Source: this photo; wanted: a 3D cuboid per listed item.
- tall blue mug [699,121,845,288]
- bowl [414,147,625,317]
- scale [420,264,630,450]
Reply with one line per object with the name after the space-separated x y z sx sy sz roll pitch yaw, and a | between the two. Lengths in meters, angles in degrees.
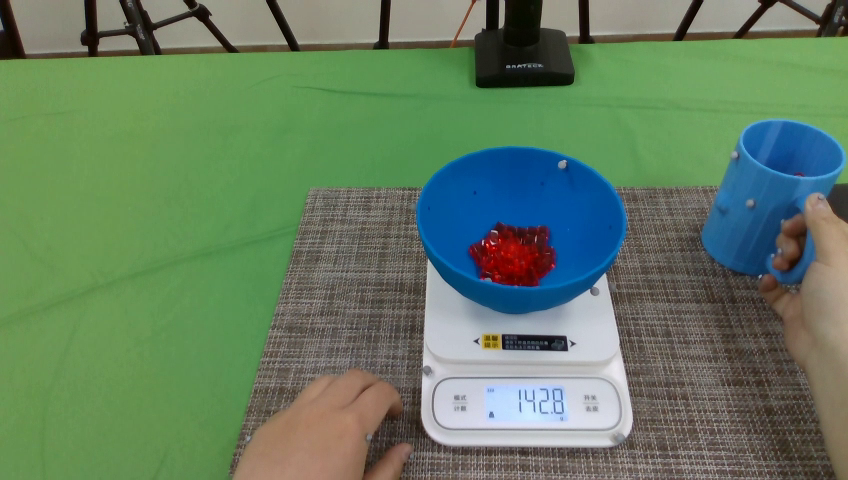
0.291 -0.022 0.494 0.078 0.109 0.106 -24 49 -19 | tall blue mug
0.069 0.006 0.461 0.151 0.077 0.150 -1 47 2 | bowl
0.074 0.065 0.478 0.148 0.032 0.199 0 47 4 | scale
